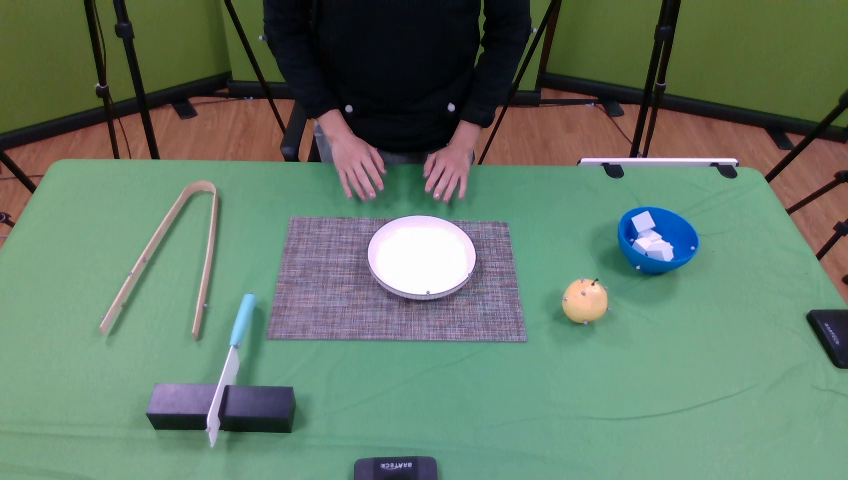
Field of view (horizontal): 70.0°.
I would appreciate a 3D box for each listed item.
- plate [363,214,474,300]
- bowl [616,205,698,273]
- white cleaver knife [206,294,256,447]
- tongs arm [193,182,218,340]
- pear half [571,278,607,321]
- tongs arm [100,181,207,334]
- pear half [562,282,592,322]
[{"bbox_3d":[-0.010,0.036,1.146,0.208,0.039,0.206,3,46,-2],"label":"plate"},{"bbox_3d":[0.443,0.010,1.182,0.151,0.077,0.150,2,46,-2],"label":"bowl"},{"bbox_3d":[-0.305,0.191,0.956,0.021,0.066,0.284,6,36,-4],"label":"white cleaver knife"},{"bbox_3d":[-0.413,0.024,1.140,0.028,0.028,0.385,-5,47,-7],"label":"tongs arm"},{"bbox_3d":[0.297,0.094,1.069,0.056,0.110,0.076,-21,62,-21],"label":"pear half"},{"bbox_3d":[-0.494,0.018,1.132,0.051,0.026,0.382,7,45,0],"label":"tongs arm"},{"bbox_3d":[0.264,0.111,1.065,0.031,0.088,0.070,-20,61,-21],"label":"pear half"}]
